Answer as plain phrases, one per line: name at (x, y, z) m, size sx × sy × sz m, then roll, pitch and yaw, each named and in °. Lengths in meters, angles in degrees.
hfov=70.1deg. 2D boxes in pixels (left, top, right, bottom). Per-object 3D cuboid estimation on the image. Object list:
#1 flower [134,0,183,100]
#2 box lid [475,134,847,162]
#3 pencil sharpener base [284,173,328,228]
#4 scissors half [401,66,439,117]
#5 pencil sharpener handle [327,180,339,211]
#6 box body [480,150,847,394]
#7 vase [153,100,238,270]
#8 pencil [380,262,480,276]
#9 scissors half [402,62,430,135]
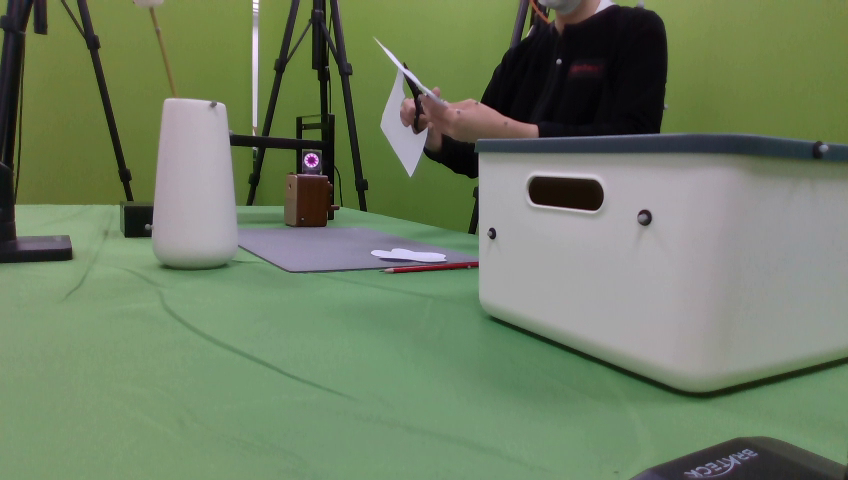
flower at (-0.282, -0.147, 0.713) m, size 0.038 × 0.362 × 0.044 m, roll -23°, pitch 24°, yaw -31°
box lid at (0.256, -0.073, 0.528) m, size 0.373 × 0.015 × 0.262 m, roll -2°, pitch 8°, yaw -31°
pencil sharpener base at (-0.239, -0.081, 1.231) m, size 0.077 × 0.107 × 0.061 m, roll -2°, pitch 8°, yaw -36°
scissors half at (-0.007, -0.269, 1.087) m, size 0.013 × 0.040 × 0.176 m, roll 16°, pitch -6°, yaw 24°
pencil sharpener handle at (-0.194, -0.094, 1.256) m, size 0.031 × 0.067 × 0.036 m, roll -2°, pitch -5°, yaw -36°
box body at (0.254, 0.002, 0.539) m, size 0.366 × 0.160 × 0.253 m, roll -2°, pitch 8°, yaw -31°
vase at (-0.278, -0.066, 0.736) m, size 0.098 × 0.200 × 0.098 m, roll 2°, pitch 9°, yaw 0°
pencil at (0.030, 0.037, 0.795) m, size 0.195 × 0.012 × 0.012 m, roll -4°, pitch 10°, yaw -30°
scissors half at (-0.017, -0.251, 1.082) m, size 0.012 × 0.040 × 0.175 m, roll 21°, pitch -27°, yaw 26°
